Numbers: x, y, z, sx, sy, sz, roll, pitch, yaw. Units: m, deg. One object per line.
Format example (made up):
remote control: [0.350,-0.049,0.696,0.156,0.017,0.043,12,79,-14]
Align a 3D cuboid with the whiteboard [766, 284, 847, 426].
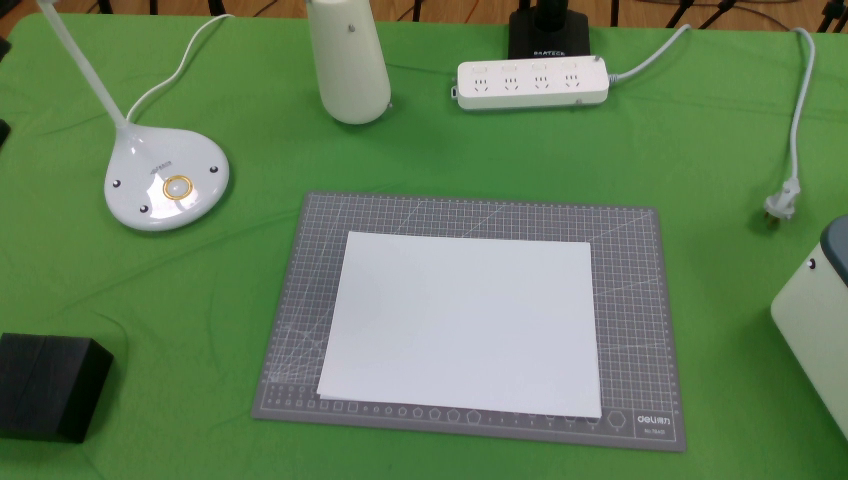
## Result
whiteboard: [0.533,0.133,0.565,0.217,0.145,0.302,-15,59,-10]

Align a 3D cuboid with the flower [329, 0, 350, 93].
flower: [-0.088,-0.282,0.712,0.044,0.363,0.038,-34,80,-26]

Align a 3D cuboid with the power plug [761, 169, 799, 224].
power plug: [0.438,-0.049,0.738,0.073,0.053,0.035,-24,55,-36]

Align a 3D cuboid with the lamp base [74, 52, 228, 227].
lamp base: [-0.353,-0.131,0.739,0.178,0.182,0.160,33,65,23]

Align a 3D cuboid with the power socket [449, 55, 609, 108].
power socket: [0.149,-0.226,0.859,0.227,0.033,0.071,-1,60,1]

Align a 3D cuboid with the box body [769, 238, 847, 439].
box body: [0.533,0.138,0.548,0.254,0.162,0.360,-15,59,-6]

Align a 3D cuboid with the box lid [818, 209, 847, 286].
box lid: [0.529,0.097,0.484,0.263,0.015,0.367,-15,60,-6]

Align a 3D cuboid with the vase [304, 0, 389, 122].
vase: [-0.103,-0.248,0.787,0.098,0.202,0.097,-2,58,3]
